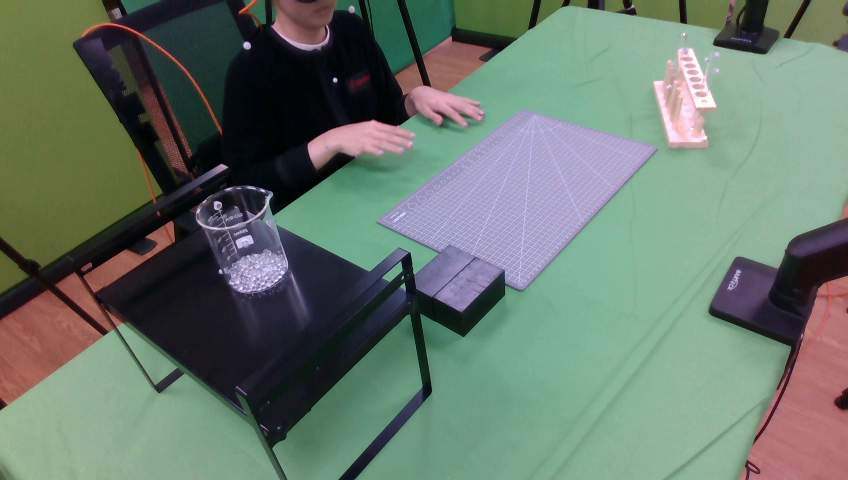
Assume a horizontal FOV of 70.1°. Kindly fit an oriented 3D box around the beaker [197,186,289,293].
[{"bbox_3d":[-0.192,0.001,0.666,0.084,0.101,0.073,-33,47,-27],"label":"beaker"}]

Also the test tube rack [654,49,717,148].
[{"bbox_3d":[0.502,-0.281,1.176,0.066,0.085,0.241,1,41,11],"label":"test tube rack"}]

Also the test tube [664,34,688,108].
[{"bbox_3d":[0.483,-0.322,1.159,0.017,0.151,0.017,-3,42,3],"label":"test tube"}]

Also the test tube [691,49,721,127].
[{"bbox_3d":[0.505,-0.269,1.087,0.017,0.151,0.017,-1,41,1],"label":"test tube"}]
